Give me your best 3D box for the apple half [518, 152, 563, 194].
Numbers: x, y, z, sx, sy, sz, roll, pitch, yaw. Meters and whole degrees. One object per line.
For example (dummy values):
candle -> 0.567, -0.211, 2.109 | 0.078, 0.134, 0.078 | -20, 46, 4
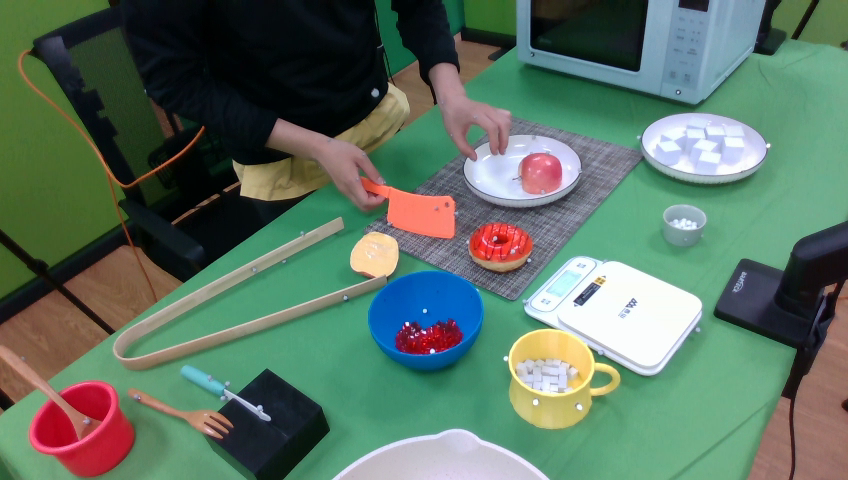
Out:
apple half -> 0.203, -0.124, 1.047 | 0.074, 0.053, 0.080 | -1, 41, 3

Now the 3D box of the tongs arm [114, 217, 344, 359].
tongs arm -> -0.280, 0.068, 0.927 | 0.386, 0.026, 0.050 | -29, 49, -22

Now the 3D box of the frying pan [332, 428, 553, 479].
frying pan -> -0.089, 0.306, 0.564 | 0.487, 0.103, 0.306 | 10, 41, 7

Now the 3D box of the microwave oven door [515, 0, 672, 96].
microwave oven door -> 0.343, -0.455, 1.259 | 0.353, 0.245, 0.039 | 26, 51, 33

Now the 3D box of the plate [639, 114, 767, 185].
plate -> 0.489, -0.157, 1.074 | 0.207, 0.039, 0.206 | -4, 40, 4

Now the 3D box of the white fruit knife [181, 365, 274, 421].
white fruit knife -> -0.245, 0.187, 0.747 | 0.205, 0.027, 0.016 | 9, 41, 40

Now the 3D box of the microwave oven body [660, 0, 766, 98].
microwave oven body -> 0.472, -0.513, 1.317 | 0.438, 0.261, 0.327 | 26, 51, 34

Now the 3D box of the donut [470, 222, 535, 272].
donut -> 0.119, 0.009, 0.923 | 0.099, 0.048, 0.098 | -4, 38, 4

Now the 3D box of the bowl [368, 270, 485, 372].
bowl -> 0.007, 0.118, 0.791 | 0.151, 0.077, 0.150 | -4, 40, 4

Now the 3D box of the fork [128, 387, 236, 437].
fork -> -0.305, 0.207, 0.744 | 0.206, 0.019, 0.028 | 3, 41, 36

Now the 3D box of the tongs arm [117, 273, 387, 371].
tongs arm -> -0.237, 0.115, 0.870 | 0.389, 0.028, 0.028 | -18, 49, -12

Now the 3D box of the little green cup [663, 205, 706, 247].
little green cup -> 0.396, -0.020, 0.926 | 0.061, 0.039, 0.061 | -4, 40, 4

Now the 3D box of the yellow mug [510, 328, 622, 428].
yellow mug -> 0.168, 0.164, 0.722 | 0.130, 0.064, 0.099 | 0, 41, 8

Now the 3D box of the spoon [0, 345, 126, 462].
spoon -> -0.434, 0.192, 0.720 | 0.194, 0.021, 0.042 | 47, 53, -7

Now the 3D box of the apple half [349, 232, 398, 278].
apple half -> -0.073, 0.028, 0.938 | 0.081, 0.033, 0.081 | -3, 68, 8

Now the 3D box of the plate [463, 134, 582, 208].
plate -> 0.173, -0.119, 1.070 | 0.209, 0.038, 0.208 | -4, 40, 4

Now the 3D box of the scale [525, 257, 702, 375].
scale -> 0.254, 0.091, 0.821 | 0.199, 0.032, 0.149 | 28, 51, 35

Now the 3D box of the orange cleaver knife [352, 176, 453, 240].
orange cleaver knife -> -0.038, -0.056, 1.005 | 0.210, 0.077, 0.012 | 19, 18, 28

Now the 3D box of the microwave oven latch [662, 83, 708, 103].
microwave oven latch -> 0.517, -0.296, 1.204 | 0.078, 0.029, 0.030 | 28, 52, 35
